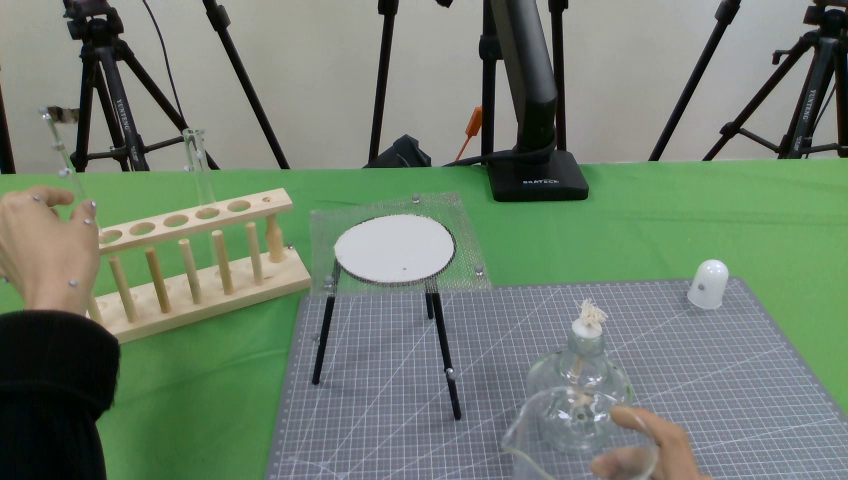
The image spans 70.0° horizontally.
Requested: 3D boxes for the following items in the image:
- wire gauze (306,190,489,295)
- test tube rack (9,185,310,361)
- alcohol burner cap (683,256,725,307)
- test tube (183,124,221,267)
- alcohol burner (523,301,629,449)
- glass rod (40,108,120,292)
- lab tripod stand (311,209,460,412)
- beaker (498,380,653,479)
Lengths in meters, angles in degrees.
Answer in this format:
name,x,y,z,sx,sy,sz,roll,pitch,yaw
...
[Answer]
name,x,y,z,sx,sy,sz,roll,pitch,yaw
wire gauze,-0.025,0.000,0.444,0.125,0.011,0.120,-6,35,-6
test tube rack,-0.239,0.025,0.575,0.243,0.086,0.066,-16,38,-21
alcohol burner cap,0.272,0.037,0.586,0.034,0.048,0.033,0,35,0
test tube,-0.208,-0.037,0.578,0.017,0.151,0.017,1,32,0
alcohol burner,0.113,0.094,0.442,0.078,0.120,0.077,0,33,1
glass rod,-0.290,-0.022,0.525,0.008,0.201,0.008,0,39,0
lab tripod stand,-0.024,0.054,0.483,0.148,0.132,0.147,-1,37,1
beaker,0.081,0.145,0.358,0.084,0.101,0.073,0,33,-3
